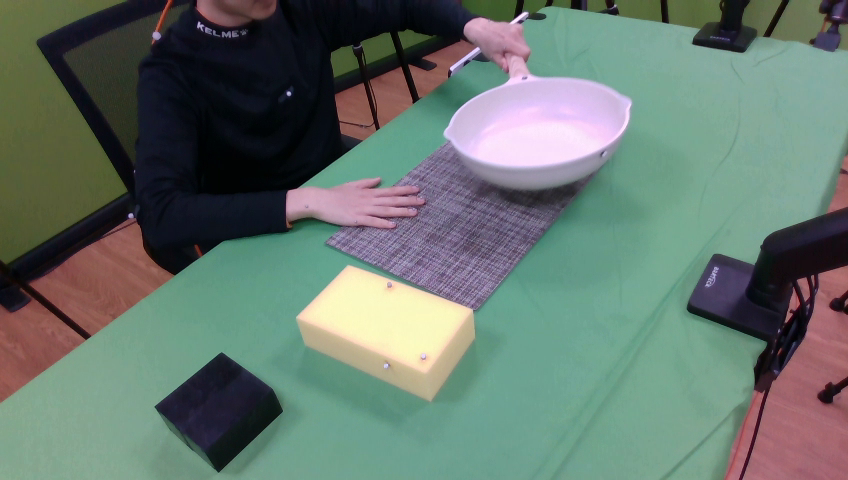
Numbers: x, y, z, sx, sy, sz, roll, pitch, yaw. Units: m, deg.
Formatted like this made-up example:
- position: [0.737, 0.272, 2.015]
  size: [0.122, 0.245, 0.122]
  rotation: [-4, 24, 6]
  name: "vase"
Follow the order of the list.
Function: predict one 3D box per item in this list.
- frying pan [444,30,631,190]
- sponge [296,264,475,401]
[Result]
- position: [0.184, -0.253, 1.081]
  size: [0.307, 0.103, 0.485]
  rotation: [-7, 47, 4]
  name: "frying pan"
- position: [-0.050, 0.118, 0.811]
  size: [0.205, 0.061, 0.118]
  rotation: [18, 47, 26]
  name: "sponge"
